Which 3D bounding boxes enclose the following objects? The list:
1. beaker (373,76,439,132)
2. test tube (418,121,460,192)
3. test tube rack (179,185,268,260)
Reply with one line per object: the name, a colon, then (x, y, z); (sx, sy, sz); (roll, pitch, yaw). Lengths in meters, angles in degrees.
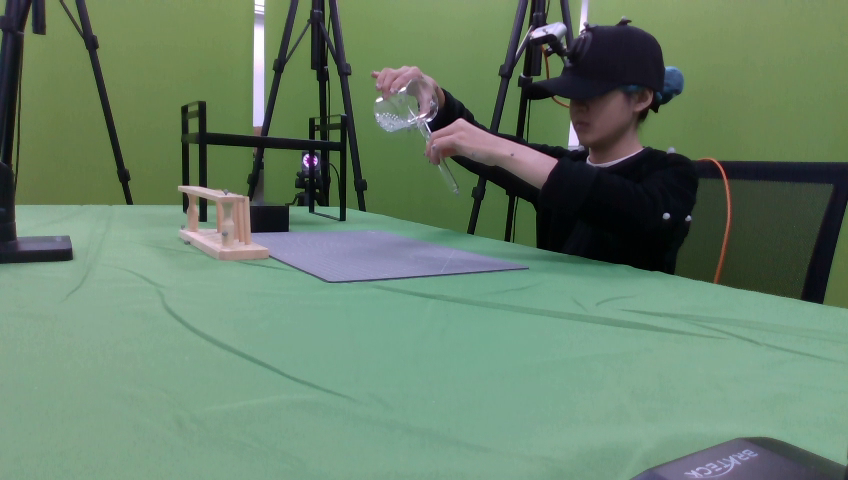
beaker: (-0.034, -0.228, 1.047); (0.074, 0.084, 0.100); (5, -8, -41)
test tube: (0.023, -0.136, 0.974); (0.017, 0.149, 0.017); (-19, -29, -11)
test tube rack: (-0.303, -0.031, 0.898); (0.067, 0.085, 0.241); (-2, 9, -33)
